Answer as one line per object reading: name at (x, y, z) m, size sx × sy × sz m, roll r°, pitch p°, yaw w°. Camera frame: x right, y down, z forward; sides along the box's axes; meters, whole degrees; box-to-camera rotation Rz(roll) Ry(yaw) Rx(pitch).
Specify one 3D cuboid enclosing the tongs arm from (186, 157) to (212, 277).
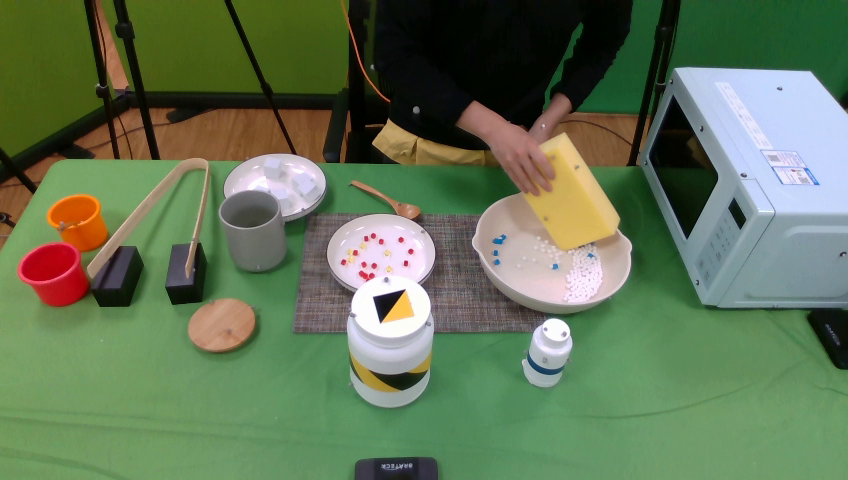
tongs arm at (-0.445, -0.058, 1.169) m, size 0.051 × 0.026 × 0.382 m, roll -5°, pitch 37°, yaw -6°

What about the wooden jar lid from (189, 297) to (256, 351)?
wooden jar lid at (-0.342, 0.145, 1.033) m, size 0.108 × 0.021 × 0.107 m, roll 2°, pitch 45°, yaw -2°

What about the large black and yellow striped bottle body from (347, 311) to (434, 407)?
large black and yellow striped bottle body at (-0.052, 0.157, 0.929) m, size 0.131 × 0.185 × 0.130 m, roll 2°, pitch 47°, yaw -2°

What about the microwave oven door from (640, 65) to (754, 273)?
microwave oven door at (0.523, -0.147, 1.193) m, size 0.039 × 0.245 × 0.353 m, roll 0°, pitch 47°, yaw -3°

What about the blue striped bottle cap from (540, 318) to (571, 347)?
blue striped bottle cap at (0.203, 0.142, 0.933) m, size 0.044 × 0.021 × 0.044 m, roll 3°, pitch 49°, yaw -3°

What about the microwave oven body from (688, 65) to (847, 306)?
microwave oven body at (0.669, -0.111, 1.176) m, size 0.326 × 0.261 × 0.439 m, roll 0°, pitch 46°, yaw -3°

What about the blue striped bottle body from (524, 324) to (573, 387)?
blue striped bottle body at (0.200, 0.178, 0.970) m, size 0.063 × 0.121 × 0.062 m, roll 2°, pitch 46°, yaw -2°

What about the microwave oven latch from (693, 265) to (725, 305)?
microwave oven latch at (0.523, 0.082, 1.116) m, size 0.030 × 0.029 × 0.078 m, roll 2°, pitch 46°, yaw -1°

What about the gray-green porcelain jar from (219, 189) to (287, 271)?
gray-green porcelain jar at (-0.309, -0.014, 1.113) m, size 0.106 × 0.127 × 0.105 m, roll 2°, pitch 46°, yaw -2°

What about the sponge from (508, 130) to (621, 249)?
sponge at (0.271, -0.092, 1.164) m, size 0.207 × 0.118 × 0.060 m, roll 53°, pitch 42°, yaw -15°

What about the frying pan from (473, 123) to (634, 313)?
frying pan at (0.235, -0.060, 1.207) m, size 0.307 × 0.103 × 0.484 m, roll 1°, pitch 54°, yaw -6°

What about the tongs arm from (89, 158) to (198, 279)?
tongs arm at (-0.529, -0.057, 1.164) m, size 0.028 × 0.028 × 0.385 m, roll 1°, pitch 36°, yaw 8°

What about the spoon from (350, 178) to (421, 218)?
spoon at (-0.084, -0.092, 1.272) m, size 0.193 × 0.022 × 0.041 m, roll 31°, pitch 69°, yaw 25°

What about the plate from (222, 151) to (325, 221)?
plate at (-0.310, -0.106, 1.262) m, size 0.208 × 0.039 × 0.206 m, roll 2°, pitch 47°, yaw -2°

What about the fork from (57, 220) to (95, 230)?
fork at (-0.624, -0.027, 1.087) m, size 0.028 × 0.207 × 0.018 m, roll -3°, pitch 92°, yaw -17°

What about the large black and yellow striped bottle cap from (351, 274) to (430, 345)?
large black and yellow striped bottle cap at (-0.048, 0.097, 0.867) m, size 0.115 × 0.019 × 0.114 m, roll 3°, pitch 48°, yaw -3°

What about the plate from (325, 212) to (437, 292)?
plate at (-0.080, 0.030, 1.143) m, size 0.209 × 0.038 × 0.208 m, roll 2°, pitch 46°, yaw -2°
